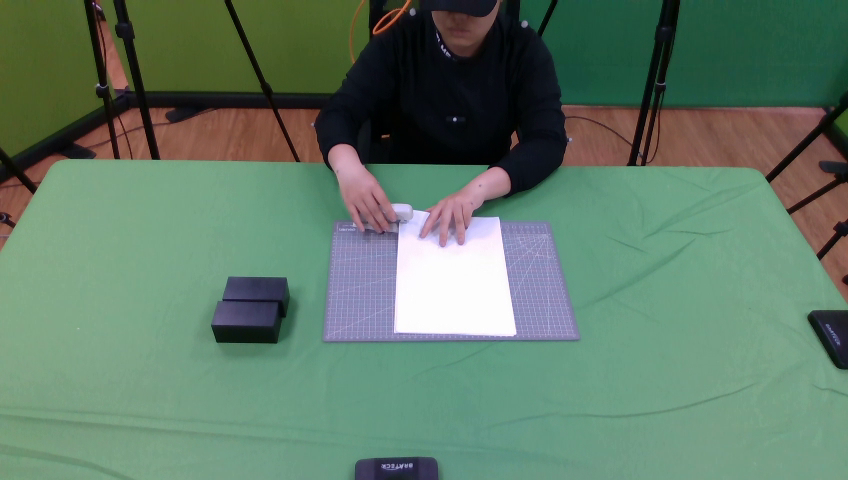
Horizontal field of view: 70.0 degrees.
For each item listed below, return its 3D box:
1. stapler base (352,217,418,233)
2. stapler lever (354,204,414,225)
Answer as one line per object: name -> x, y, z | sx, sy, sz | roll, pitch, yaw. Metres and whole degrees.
stapler base -> -0.078, -0.041, 1.225 | 0.130, 0.024, 0.041 | 6, 43, 4
stapler lever -> -0.079, -0.056, 1.210 | 0.118, 0.040, 0.026 | 9, 43, 1
